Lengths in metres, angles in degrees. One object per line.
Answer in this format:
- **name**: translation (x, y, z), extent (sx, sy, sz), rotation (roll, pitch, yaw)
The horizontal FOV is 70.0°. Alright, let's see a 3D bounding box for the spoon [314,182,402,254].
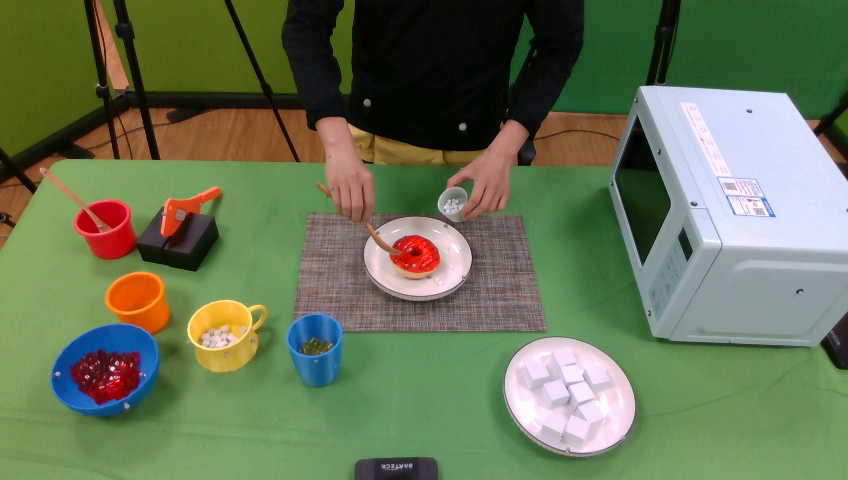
- **spoon**: translation (-0.112, -0.036, 1.037), extent (0.194, 0.041, 0.021), rotation (44, 82, -16)

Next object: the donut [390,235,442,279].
- **donut**: translation (-0.016, 0.032, 1.134), extent (0.099, 0.048, 0.098), rotation (4, 44, -3)

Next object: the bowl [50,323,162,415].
- **bowl**: translation (-0.472, 0.209, 0.924), extent (0.151, 0.077, 0.150), rotation (3, 45, -2)

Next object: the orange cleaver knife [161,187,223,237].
- **orange cleaver knife**: translation (-0.448, -0.058, 1.181), extent (0.012, 0.077, 0.211), rotation (13, 17, 6)

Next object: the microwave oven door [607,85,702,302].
- **microwave oven door**: translation (0.424, -0.094, 1.141), extent (0.039, 0.245, 0.353), rotation (2, 46, -1)

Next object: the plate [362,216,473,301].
- **plate**: translation (-0.012, 0.038, 1.144), extent (0.209, 0.038, 0.208), rotation (2, 46, -2)

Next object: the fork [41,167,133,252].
- **fork**: translation (-0.624, -0.056, 1.121), extent (0.208, 0.018, 0.028), rotation (49, 51, -15)

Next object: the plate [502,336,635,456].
- **plate**: translation (0.225, 0.248, 0.963), extent (0.208, 0.039, 0.206), rotation (2, 46, -2)

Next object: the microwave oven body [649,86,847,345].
- **microwave oven body**: translation (0.568, -0.053, 1.118), extent (0.326, 0.261, 0.439), rotation (2, 45, -1)

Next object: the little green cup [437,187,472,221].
- **little green cup**: translation (0.059, -0.066, 1.142), extent (0.061, 0.039, 0.061), rotation (-9, 70, 28)

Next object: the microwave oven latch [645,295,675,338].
- **microwave oven latch**: translation (0.412, 0.134, 1.061), extent (0.030, 0.029, 0.078), rotation (3, 45, 0)

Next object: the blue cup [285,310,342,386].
- **blue cup**: translation (-0.170, 0.179, 0.958), extent (0.093, 0.101, 0.092), rotation (2, 44, -1)

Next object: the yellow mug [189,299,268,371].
- **yellow mug**: translation (-0.316, 0.148, 1.002), extent (0.131, 0.064, 0.099), rotation (-32, 56, -31)
